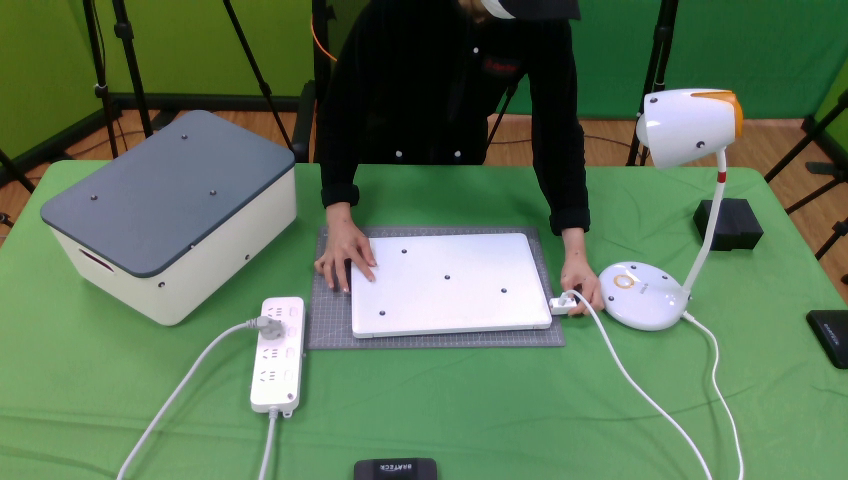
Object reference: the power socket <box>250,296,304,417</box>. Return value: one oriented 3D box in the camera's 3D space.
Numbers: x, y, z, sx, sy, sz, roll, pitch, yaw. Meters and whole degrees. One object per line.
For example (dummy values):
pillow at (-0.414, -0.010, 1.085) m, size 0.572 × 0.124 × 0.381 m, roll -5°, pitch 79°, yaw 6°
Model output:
power socket at (-0.239, 0.182, 0.997) m, size 0.072 × 0.033 × 0.225 m, roll -2°, pitch 47°, yaw -5°

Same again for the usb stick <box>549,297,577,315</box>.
usb stick at (0.243, 0.119, 1.088) m, size 0.059 × 0.027 × 0.021 m, roll -6°, pitch 48°, yaw -5°

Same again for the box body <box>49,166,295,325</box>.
box body at (-0.437, -0.046, 1.111) m, size 0.253 × 0.161 × 0.363 m, roll 24°, pitch 49°, yaw 18°

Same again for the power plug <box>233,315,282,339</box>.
power plug at (-0.271, 0.144, 1.000) m, size 0.072 × 0.053 × 0.035 m, roll 5°, pitch 47°, yaw 3°

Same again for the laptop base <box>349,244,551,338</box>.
laptop base at (0.040, 0.081, 1.126) m, size 0.355 × 0.023 × 0.234 m, roll -2°, pitch 43°, yaw -6°

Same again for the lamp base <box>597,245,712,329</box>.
lamp base at (0.418, 0.051, 1.072) m, size 0.179 × 0.181 × 0.160 m, roll 22°, pitch 49°, yaw 13°

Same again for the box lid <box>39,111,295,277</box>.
box lid at (-0.434, -0.097, 1.055) m, size 0.262 × 0.015 × 0.370 m, roll 25°, pitch 49°, yaw 18°

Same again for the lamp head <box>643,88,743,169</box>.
lamp head at (0.379, -0.161, 0.852) m, size 0.122 × 0.113 × 0.112 m, roll -4°, pitch 42°, yaw 25°

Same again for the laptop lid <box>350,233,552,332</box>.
laptop lid at (0.041, 0.071, 1.120) m, size 0.357 × 0.013 × 0.240 m, roll -1°, pitch 43°, yaw -5°
